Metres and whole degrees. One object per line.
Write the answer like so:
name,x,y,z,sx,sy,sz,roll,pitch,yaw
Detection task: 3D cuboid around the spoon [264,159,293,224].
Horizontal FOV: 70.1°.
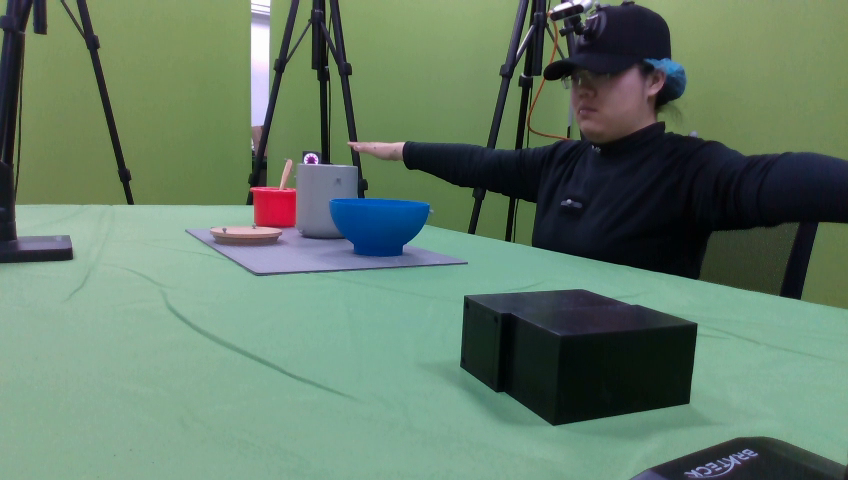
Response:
spoon,-0.288,-0.102,1.227,0.041,0.021,0.193,1,51,3

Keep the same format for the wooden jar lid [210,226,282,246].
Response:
wooden jar lid,-0.279,-0.007,0.951,0.108,0.020,0.108,2,8,0

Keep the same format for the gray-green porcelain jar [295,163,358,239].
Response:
gray-green porcelain jar,-0.170,-0.069,1.054,0.106,0.126,0.106,3,7,0

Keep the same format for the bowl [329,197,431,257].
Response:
bowl,-0.067,-0.019,0.895,0.151,0.077,0.151,3,7,0
